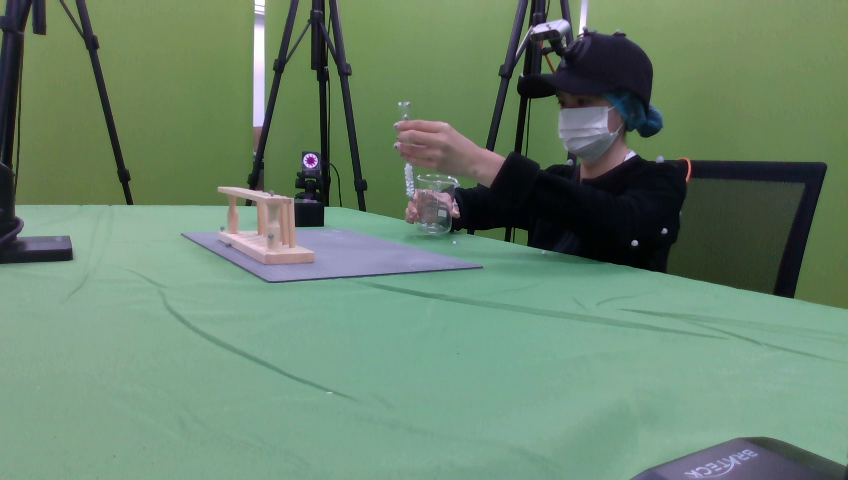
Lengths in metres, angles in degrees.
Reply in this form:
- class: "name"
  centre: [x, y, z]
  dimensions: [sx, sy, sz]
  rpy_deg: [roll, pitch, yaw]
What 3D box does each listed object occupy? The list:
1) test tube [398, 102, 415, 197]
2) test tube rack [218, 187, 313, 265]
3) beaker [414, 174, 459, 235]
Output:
- class: "test tube"
  centre: [-0.027, -0.137, 0.931]
  dimensions: [0.017, 0.150, 0.017]
  rpy_deg: [-3, 25, 2]
- class: "test tube rack"
  centre: [-0.235, -0.027, 0.872]
  dimensions: [0.067, 0.085, 0.241]
  rpy_deg: [-2, 8, -32]
- class: "beaker"
  centre: [0.021, -0.065, 1.110]
  dimensions: [0.084, 0.100, 0.074]
  rpy_deg: [9, 17, 17]
